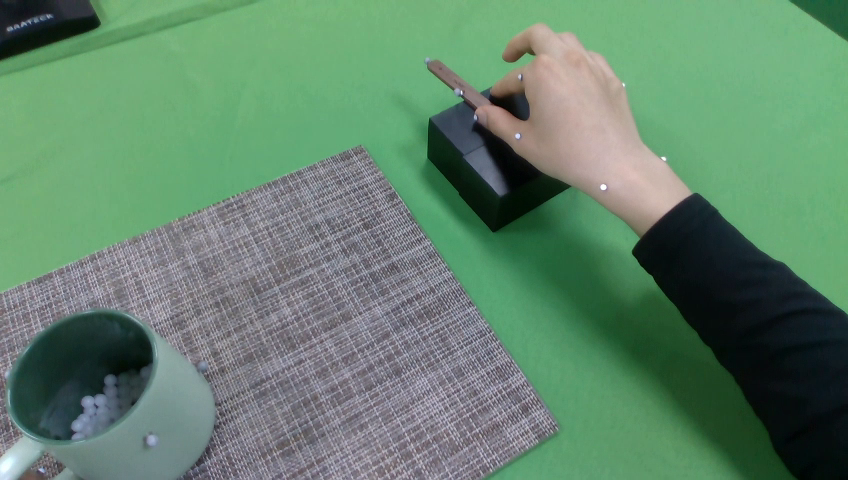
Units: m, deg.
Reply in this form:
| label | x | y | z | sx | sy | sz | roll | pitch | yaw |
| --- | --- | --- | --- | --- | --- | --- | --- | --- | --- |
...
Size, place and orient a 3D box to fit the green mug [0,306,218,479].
| label | x | y | z | sx | sy | sz | roll | pitch | yaw |
| --- | --- | --- | --- | --- | --- | --- | --- | --- | --- |
| green mug | -0.193 | 0.109 | 0.363 | 0.092 | 0.106 | 0.125 | 32 | 62 | 17 |

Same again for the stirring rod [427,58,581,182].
| label | x | y | z | sx | sy | sz | roll | pitch | yaw |
| --- | --- | --- | --- | --- | --- | --- | --- | --- | --- |
| stirring rod | 0.063 | -0.105 | 0.509 | 0.014 | 0.006 | 0.174 | -36 | 65 | -21 |
